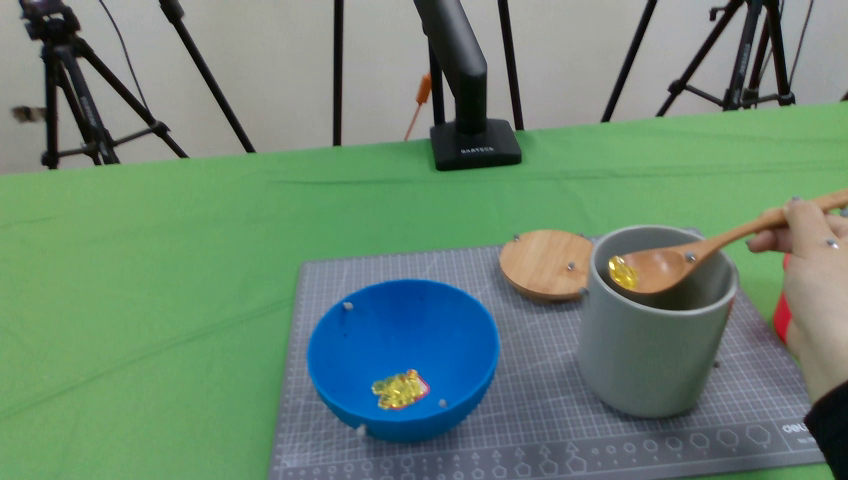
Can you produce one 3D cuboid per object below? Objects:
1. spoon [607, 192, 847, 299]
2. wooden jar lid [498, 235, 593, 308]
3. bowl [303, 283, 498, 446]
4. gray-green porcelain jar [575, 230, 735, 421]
[{"bbox_3d":[0.227,0.000,0.434,0.193,0.022,0.041,-23,39,12],"label":"spoon"},{"bbox_3d":[0.131,0.033,0.634,0.108,0.021,0.107,-3,35,2],"label":"wooden jar lid"},{"bbox_3d":[-0.016,0.112,0.490,0.151,0.077,0.150,-2,37,2],"label":"bowl"},{"bbox_3d":[0.178,0.073,0.485,0.106,0.127,0.105,-2,37,2],"label":"gray-green porcelain jar"}]
